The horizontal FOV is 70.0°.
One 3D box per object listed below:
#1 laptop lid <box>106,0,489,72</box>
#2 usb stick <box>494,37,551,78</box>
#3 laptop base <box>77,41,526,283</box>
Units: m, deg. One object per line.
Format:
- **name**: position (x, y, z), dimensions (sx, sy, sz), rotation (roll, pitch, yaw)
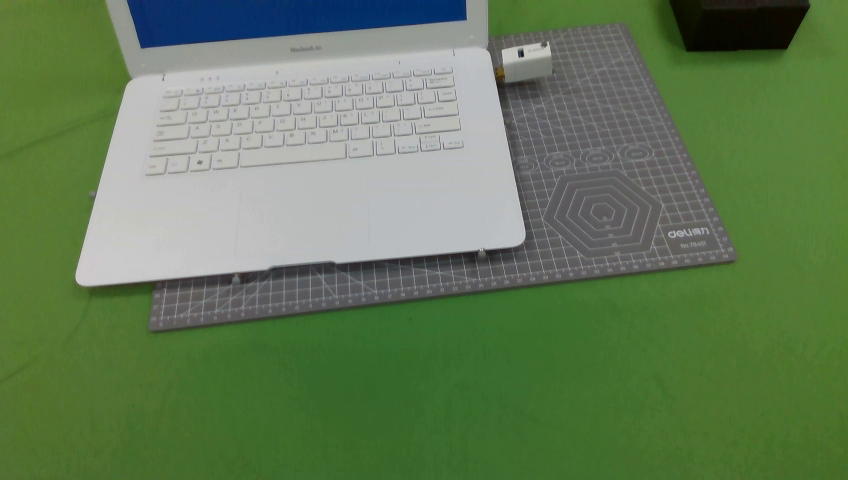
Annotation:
- **laptop lid**: position (-0.120, -0.274, 0.536), dimensions (0.357, 0.244, 0.013), rotation (-7, 31, 0)
- **usb stick**: position (0.088, -0.169, 0.565), dimensions (0.059, 0.027, 0.021), rotation (-9, 58, 11)
- **laptop base**: position (-0.103, -0.077, 0.533), dimensions (0.354, 0.023, 0.233), rotation (-5, 60, -1)
